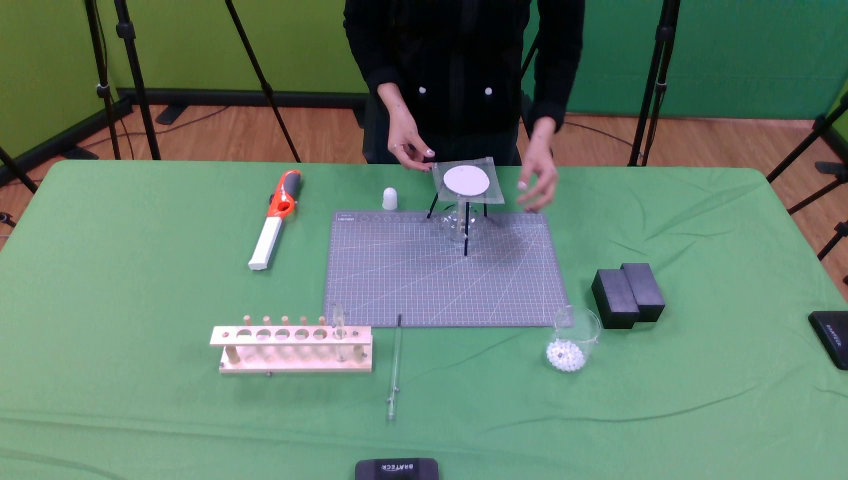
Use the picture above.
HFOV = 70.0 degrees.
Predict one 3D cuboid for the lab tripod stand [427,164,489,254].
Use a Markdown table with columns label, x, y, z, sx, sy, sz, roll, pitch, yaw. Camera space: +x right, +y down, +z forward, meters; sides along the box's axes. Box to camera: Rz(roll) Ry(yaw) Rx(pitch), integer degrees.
| label | x | y | z | sx | sy | sz | roll | pitch | yaw |
| --- | --- | --- | --- | --- | --- | --- | --- | --- | --- |
| lab tripod stand | 0.078 | -0.068 | 1.188 | 0.148 | 0.132 | 0.147 | 3 | 47 | -3 |

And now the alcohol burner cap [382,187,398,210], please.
| label | x | y | z | sx | sy | sz | roll | pitch | yaw |
| --- | --- | --- | --- | --- | --- | --- | --- | --- | --- |
| alcohol burner cap | -0.072 | -0.090 | 1.266 | 0.034 | 0.048 | 0.033 | 2 | 47 | -2 |

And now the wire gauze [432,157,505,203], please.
| label | x | y | z | sx | sy | sz | roll | pitch | yaw |
| --- | --- | --- | --- | --- | --- | --- | --- | --- | --- |
| wire gauze | 0.081 | -0.112 | 1.137 | 0.125 | 0.011 | 0.120 | -2 | 47 | -6 |

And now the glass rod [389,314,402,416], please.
| label | x | y | z | sx | sy | sz | roll | pitch | yaw |
| --- | --- | --- | --- | --- | --- | --- | --- | --- | --- |
| glass rod | -0.048 | 0.203 | 1.008 | 0.008 | 0.008 | 0.198 | 4 | 45 | 0 |

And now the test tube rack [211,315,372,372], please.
| label | x | y | z | sx | sy | sz | roll | pitch | yaw |
| --- | --- | --- | --- | --- | --- | --- | --- | --- | --- |
| test tube rack | -0.208 | 0.163 | 0.982 | 0.242 | 0.085 | 0.066 | 1 | 46 | -4 |

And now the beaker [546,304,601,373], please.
| label | x | y | z | sx | sy | sz | roll | pitch | yaw |
| --- | --- | --- | --- | --- | --- | --- | --- | --- | --- |
| beaker | 0.242 | 0.167 | 1.001 | 0.084 | 0.101 | 0.073 | -32 | 55 | -28 |

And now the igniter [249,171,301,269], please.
| label | x | y | z | sx | sy | sz | roll | pitch | yaw |
| --- | --- | --- | --- | --- | --- | --- | --- | --- | --- |
| igniter | -0.297 | -0.049 | 1.220 | 0.057 | 0.025 | 0.275 | -1 | 45 | 9 |

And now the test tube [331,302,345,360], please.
| label | x | y | z | sx | sy | sz | roll | pitch | yaw |
| --- | --- | --- | --- | --- | --- | --- | --- | --- | --- |
| test tube | -0.132 | 0.144 | 0.938 | 0.017 | 0.151 | 0.017 | 2 | 49 | -3 |

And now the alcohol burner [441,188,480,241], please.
| label | x | y | z | sx | sy | sz | roll | pitch | yaw |
| --- | --- | --- | --- | --- | --- | --- | --- | --- | --- |
| alcohol burner | 0.073 | -0.055 | 1.189 | 0.078 | 0.120 | 0.077 | 1 | 48 | 0 |
